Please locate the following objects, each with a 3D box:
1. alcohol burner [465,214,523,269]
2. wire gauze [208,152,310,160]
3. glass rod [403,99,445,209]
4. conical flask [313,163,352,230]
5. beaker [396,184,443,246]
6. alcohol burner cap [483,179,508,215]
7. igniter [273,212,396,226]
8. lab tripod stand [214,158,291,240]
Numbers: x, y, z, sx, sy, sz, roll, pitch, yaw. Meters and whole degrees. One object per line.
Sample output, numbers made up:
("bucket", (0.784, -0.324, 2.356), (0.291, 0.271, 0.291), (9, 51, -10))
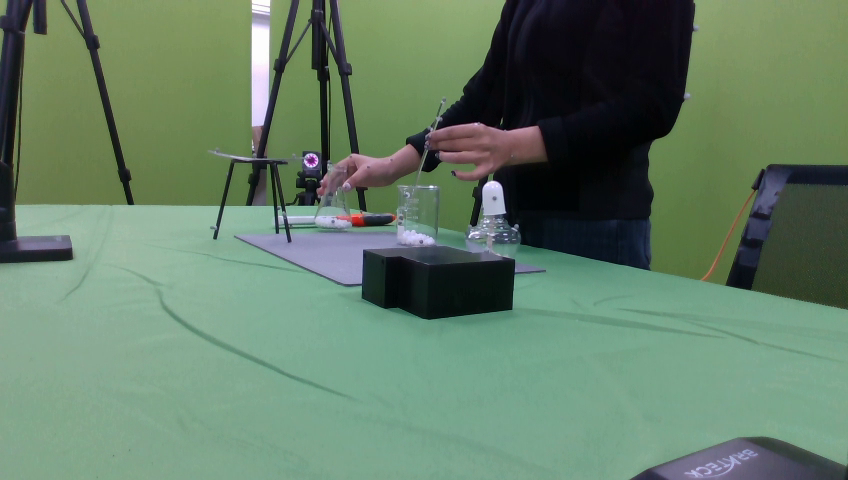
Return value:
("alcohol burner", (0.094, -0.022, 0.815), (0.078, 0.119, 0.078), (0, 7, 0))
("wire gauze", (-0.270, -0.135, 0.993), (0.124, 0.011, 0.122), (8, 8, 41))
("glass rod", (-0.001, -0.135, 0.978), (0.008, 0.199, 0.008), (16, 29, -9))
("conical flask", (-0.170, -0.084, 1.155), (0.075, 0.122, 0.075), (6, 11, -1))
("beaker", (-0.011, -0.043, 1.005), (0.083, 0.100, 0.074), (8, 9, 38))
("alcohol burner cap", (0.094, -0.057, 0.810), (0.034, 0.048, 0.034), (-8, 6, 1))
("igniter", (-0.179, -0.044, 1.258), (0.278, 0.025, 0.057), (-3, -1, -39))
("lab tripod stand", (-0.268, -0.068, 1.002), (0.148, 0.131, 0.148), (3, 6, 0))
